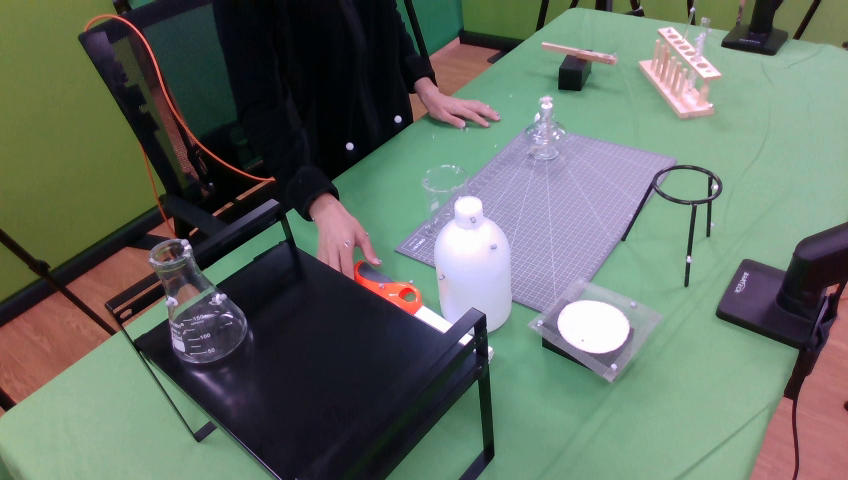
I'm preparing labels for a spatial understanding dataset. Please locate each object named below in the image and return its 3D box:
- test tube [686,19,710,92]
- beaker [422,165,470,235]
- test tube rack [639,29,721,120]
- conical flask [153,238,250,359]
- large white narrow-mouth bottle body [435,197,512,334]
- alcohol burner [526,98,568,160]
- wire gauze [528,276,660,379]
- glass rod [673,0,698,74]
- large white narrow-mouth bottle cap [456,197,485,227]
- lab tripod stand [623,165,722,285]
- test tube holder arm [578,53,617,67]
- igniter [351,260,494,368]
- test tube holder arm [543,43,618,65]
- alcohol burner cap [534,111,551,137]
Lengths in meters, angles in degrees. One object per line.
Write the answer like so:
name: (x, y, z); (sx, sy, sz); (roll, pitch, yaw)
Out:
test tube: (0.540, -0.360, 1.193); (0.017, 0.151, 0.017); (-4, 43, 4)
beaker: (0.041, -0.063, 0.986); (0.073, 0.101, 0.084); (20, 47, 29)
test tube rack: (0.527, -0.351, 1.262); (0.067, 0.085, 0.241); (-8, 40, 1)
conical flask: (-0.225, 0.055, 0.597); (0.075, 0.122, 0.075); (-5, 41, 4)
large white narrow-mouth bottle body: (0.066, 0.028, 0.805); (0.102, 0.195, 0.101); (-4, 40, 4)
alcohol burner: (0.228, -0.210, 1.118); (0.078, 0.119, 0.077); (-5, 43, 5)
wire gauze: (0.213, 0.103, 0.763); (0.124, 0.011, 0.122); (30, 52, 35)
glass rod: (0.538, -0.425, 1.244); (0.008, 0.200, 0.008); (0, 47, 1)
large white narrow-mouth bottle cap: (0.058, -0.036, 0.750); (0.038, 0.024, 0.037); (-4, 40, 4)
lab tripod stand: (0.365, -0.030, 0.874); (0.148, 0.132, 0.147); (-6, 41, 6)
test tube holder arm: (0.376, -0.393, 1.314); (0.087, 0.015, 0.010); (26, 51, 32)
igniter: (-0.013, 0.098, 0.864); (0.274, 0.025, 0.057); (30, 65, 36)
test tube holder arm: (0.344, -0.413, 1.340); (0.177, 0.015, 0.013); (25, 50, 31)
alcohol burner cap: (0.235, -0.231, 1.197); (0.034, 0.048, 0.033); (-5, 39, 5)
